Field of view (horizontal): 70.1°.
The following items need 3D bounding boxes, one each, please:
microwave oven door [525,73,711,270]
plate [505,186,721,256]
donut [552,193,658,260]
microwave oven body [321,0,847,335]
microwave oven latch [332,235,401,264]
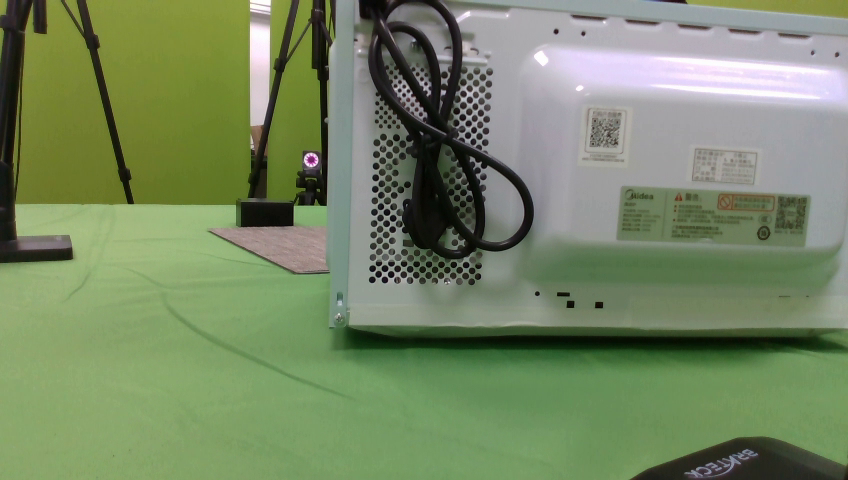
[{"bbox_3d":[0.262,-0.103,0.895,0.039,0.243,0.354,-1,8,-22],"label":"microwave oven door"},{"bbox_3d":[0.185,-0.021,0.616,0.209,0.038,0.209,4,13,-1],"label":"plate"},{"bbox_3d":[0.171,-0.016,0.577,0.099,0.048,0.099,-10,17,3],"label":"donut"},{"bbox_3d":[0.133,-0.062,0.568,0.443,0.260,0.325,2,6,-8],"label":"microwave oven body"},{"bbox_3d":[-0.066,0.010,0.700,0.079,0.029,0.030,2,6,-8],"label":"microwave oven latch"}]
